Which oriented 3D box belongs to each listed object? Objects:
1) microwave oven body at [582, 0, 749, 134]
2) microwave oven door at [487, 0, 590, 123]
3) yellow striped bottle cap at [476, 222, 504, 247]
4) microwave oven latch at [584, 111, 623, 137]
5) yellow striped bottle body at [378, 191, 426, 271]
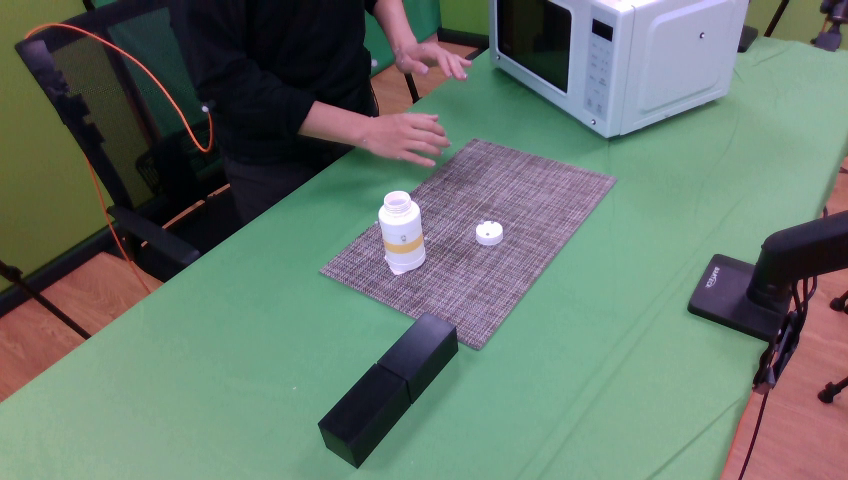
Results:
[{"bbox_3d":[0.382,-0.444,1.246,0.327,0.261,0.437,-22,42,-16],"label":"microwave oven body"},{"bbox_3d":[0.232,-0.420,1.230,0.039,0.245,0.352,-22,43,-16],"label":"microwave oven door"},{"bbox_3d":[0.105,-0.010,0.966,0.044,0.019,0.044,-4,39,3],"label":"yellow striped bottle cap"},{"bbox_3d":[0.337,-0.222,1.142,0.030,0.029,0.078,-21,42,-14],"label":"microwave oven latch"},{"bbox_3d":[-0.034,-0.016,0.910,0.063,0.121,0.062,-4,41,4],"label":"yellow striped bottle body"}]
